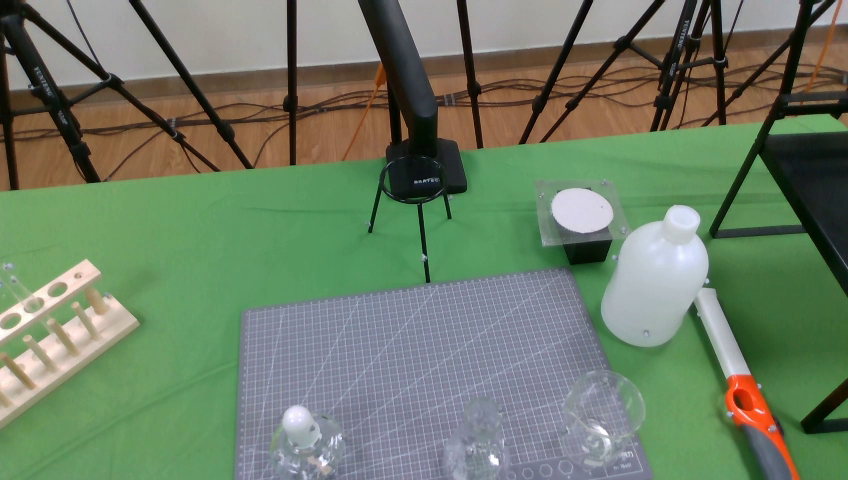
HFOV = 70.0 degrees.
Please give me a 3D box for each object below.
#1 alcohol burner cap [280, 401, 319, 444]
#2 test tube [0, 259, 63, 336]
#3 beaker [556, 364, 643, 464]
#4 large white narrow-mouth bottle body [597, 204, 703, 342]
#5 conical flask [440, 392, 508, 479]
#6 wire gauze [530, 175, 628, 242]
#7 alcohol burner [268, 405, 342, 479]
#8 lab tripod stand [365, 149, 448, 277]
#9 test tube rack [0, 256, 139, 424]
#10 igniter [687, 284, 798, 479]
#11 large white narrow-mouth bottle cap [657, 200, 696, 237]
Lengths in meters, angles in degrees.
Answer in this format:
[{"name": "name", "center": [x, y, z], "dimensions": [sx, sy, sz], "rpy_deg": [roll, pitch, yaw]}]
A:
[{"name": "alcohol burner cap", "center": [-0.126, 0.179, 0.603], "dimensions": [0.034, 0.048, 0.033], "rpy_deg": [-3, 50, 4]}, {"name": "test tube", "center": [-0.456, 0.069, 0.698], "dimensions": [0.017, 0.151, 0.017], "rpy_deg": [1, 52, -1]}, {"name": "beaker", "center": [0.181, 0.191, 0.651], "dimensions": [0.084, 0.101, 0.073], "rpy_deg": [-3, 50, -1]}, {"name": "large white narrow-mouth bottle body", "center": [0.274, 0.034, 0.724], "dimensions": [0.102, 0.196, 0.101], "rpy_deg": [0, 50, 1]}, {"name": "conical flask", "center": [0.054, 0.201, 0.627], "dimensions": [0.075, 0.123, 0.074], "rpy_deg": [0, 50, 1]}, {"name": "wire gauze", "center": [0.214, -0.048, 0.850], "dimensions": [0.121, 0.011, 0.124], "rpy_deg": [-1, 50, -1]}, {"name": "alcohol burner", "center": [-0.125, 0.202, 0.631], "dimensions": [0.078, 0.120, 0.077], "rpy_deg": [1, 48, -1]}, {"name": "lab tripod stand", "center": [-0.015, -0.043, 0.828], "dimensions": [0.148, 0.132, 0.147], "rpy_deg": [1, 51, -1]}, {"name": "test tube rack", "center": [-0.473, 0.133, 0.710], "dimensions": [0.066, 0.086, 0.242], "rpy_deg": [33, 57, 24]}, {"name": "igniter", "center": [0.372, 0.167, 0.722], "dimensions": [0.057, 0.025, 0.273], "rpy_deg": [3, 49, -10]}, {"name": "large white narrow-mouth bottle cap", "center": [0.274, -0.023, 0.659], "dimensions": [0.038, 0.024, 0.037], "rpy_deg": [0, 50, 0]}]
